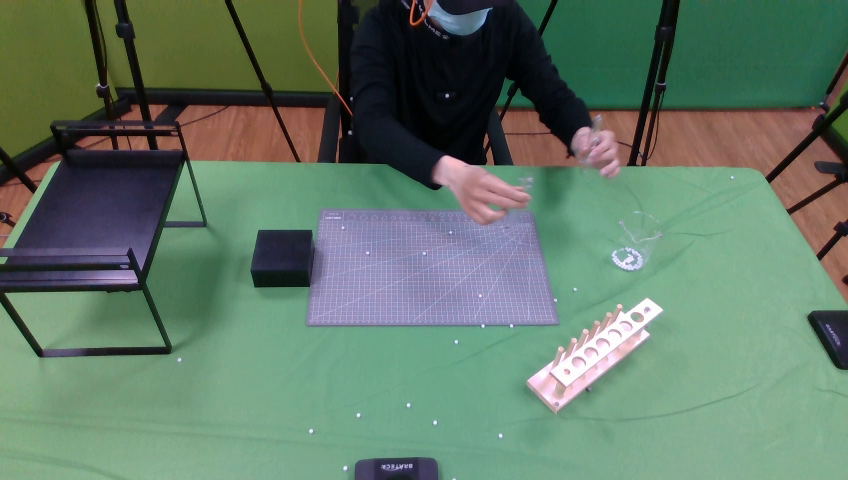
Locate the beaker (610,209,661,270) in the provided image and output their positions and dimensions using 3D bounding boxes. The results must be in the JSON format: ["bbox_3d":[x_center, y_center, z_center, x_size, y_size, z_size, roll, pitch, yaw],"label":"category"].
[{"bbox_3d":[0.404,0.005,1.170,0.074,0.101,0.083,20,49,15],"label":"beaker"}]

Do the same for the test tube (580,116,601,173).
[{"bbox_3d":[0.308,-0.174,1.125,0.017,0.151,0.017,-2,58,3],"label":"test tube"}]

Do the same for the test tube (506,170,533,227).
[{"bbox_3d":[0.167,-0.070,1.075,0.017,0.151,0.017,4,56,-5],"label":"test tube"}]

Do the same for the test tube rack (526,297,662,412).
[{"bbox_3d":[0.284,0.176,1.007,0.242,0.085,0.066,-29,54,-27],"label":"test tube rack"}]
